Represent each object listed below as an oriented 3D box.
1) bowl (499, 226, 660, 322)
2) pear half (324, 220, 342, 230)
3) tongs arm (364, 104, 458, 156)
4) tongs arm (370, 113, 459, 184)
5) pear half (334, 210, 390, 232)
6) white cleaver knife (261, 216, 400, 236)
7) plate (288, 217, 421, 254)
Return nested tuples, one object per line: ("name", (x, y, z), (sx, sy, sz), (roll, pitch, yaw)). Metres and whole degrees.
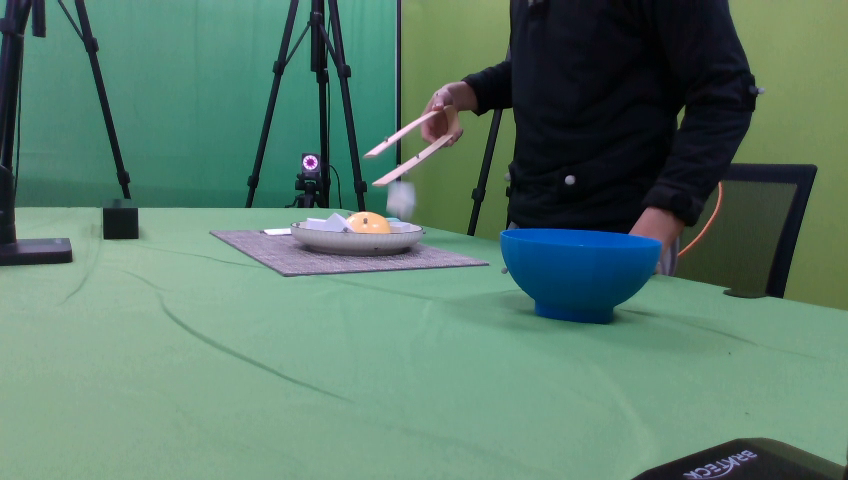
("bowl", (0.145, 0.032, 0.583), (0.151, 0.077, 0.151), (2, 7, 0))
("pear half", (-0.126, -0.019, 1.001), (0.088, 0.031, 0.070), (8, 4, 0))
("tongs arm", (-0.012, -0.202, 1.090), (0.027, 0.028, 0.388), (-8, 19, 25))
("tongs arm", (-0.006, -0.176, 1.100), (0.026, 0.051, 0.386), (-4, 18, 24))
("pear half", (-0.108, -0.017, 0.920), (0.110, 0.056, 0.076), (-5, 5, -20))
("white cleaver knife", (-0.169, -0.021, 1.156), (0.288, 0.021, 0.065), (-7, 20, -33))
("plate", (-0.109, -0.007, 0.956), (0.208, 0.039, 0.207), (2, 7, 0))
